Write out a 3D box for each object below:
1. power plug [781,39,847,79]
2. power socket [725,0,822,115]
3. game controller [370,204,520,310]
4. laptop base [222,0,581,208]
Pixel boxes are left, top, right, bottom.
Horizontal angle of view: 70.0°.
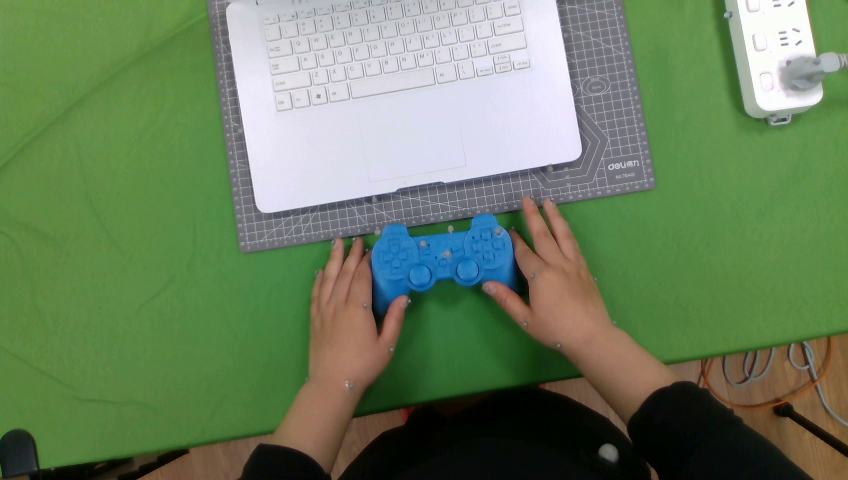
[{"bbox_3d":[0.398,-0.179,0.611,0.072,0.053,0.035,3,86,-1],"label":"power plug"},{"bbox_3d":[0.358,-0.247,0.635,0.072,0.032,0.226,-8,86,3],"label":"power socket"},{"bbox_3d":[0.019,0.017,0.623,0.155,0.051,0.097,-7,84,1],"label":"game controller"},{"bbox_3d":[-0.027,-0.179,0.652,0.354,0.023,0.235,-10,89,1],"label":"laptop base"}]
